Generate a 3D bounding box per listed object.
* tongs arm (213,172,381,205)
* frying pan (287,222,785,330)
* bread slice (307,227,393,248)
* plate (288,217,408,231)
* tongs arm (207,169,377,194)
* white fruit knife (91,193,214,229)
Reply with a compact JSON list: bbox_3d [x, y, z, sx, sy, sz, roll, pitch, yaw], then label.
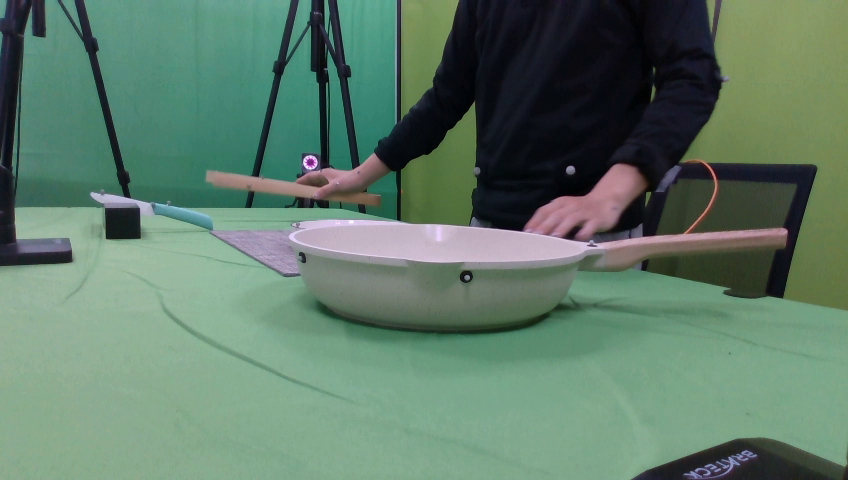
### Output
[{"bbox_3d":[-0.257,-0.108,1.310,0.390,0.027,0.028,5,2,-34],"label":"tongs arm"},{"bbox_3d":[0.114,0.016,0.607,0.488,0.102,0.307,-6,8,3],"label":"frying pan"},{"bbox_3d":[-0.115,-0.005,0.950,0.134,0.018,0.107,3,6,-7],"label":"bread slice"},{"bbox_3d":[-0.109,-0.007,0.956,0.208,0.039,0.207,2,7,0],"label":"plate"},{"bbox_3d":[-0.288,-0.119,1.371,0.387,0.026,0.050,7,4,-25],"label":"tongs arm"},{"bbox_3d":[-0.478,-0.055,1.078,0.208,0.027,0.016,14,2,-30],"label":"white fruit knife"}]
